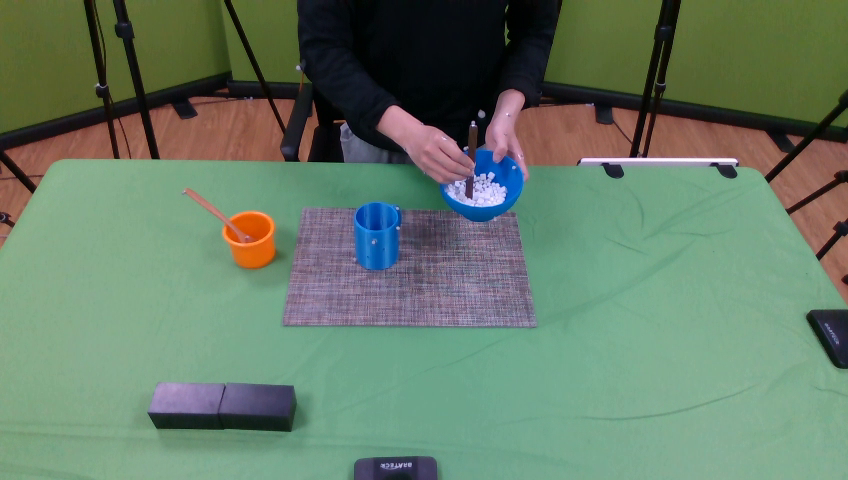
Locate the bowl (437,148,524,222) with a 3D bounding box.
[{"bbox_3d":[0.099,-0.086,1.079,0.151,0.077,0.150,-1,49,2],"label":"bowl"}]

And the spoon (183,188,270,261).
[{"bbox_3d":[-0.360,-0.029,1.110,0.021,0.194,0.041,-21,31,41],"label":"spoon"}]

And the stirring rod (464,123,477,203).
[{"bbox_3d":[0.078,-0.126,1.022,0.014,0.177,0.006,7,50,7],"label":"stirring rod"}]

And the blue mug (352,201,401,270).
[{"bbox_3d":[-0.082,-0.017,1.144,0.082,0.106,0.116,30,51,22],"label":"blue mug"}]
